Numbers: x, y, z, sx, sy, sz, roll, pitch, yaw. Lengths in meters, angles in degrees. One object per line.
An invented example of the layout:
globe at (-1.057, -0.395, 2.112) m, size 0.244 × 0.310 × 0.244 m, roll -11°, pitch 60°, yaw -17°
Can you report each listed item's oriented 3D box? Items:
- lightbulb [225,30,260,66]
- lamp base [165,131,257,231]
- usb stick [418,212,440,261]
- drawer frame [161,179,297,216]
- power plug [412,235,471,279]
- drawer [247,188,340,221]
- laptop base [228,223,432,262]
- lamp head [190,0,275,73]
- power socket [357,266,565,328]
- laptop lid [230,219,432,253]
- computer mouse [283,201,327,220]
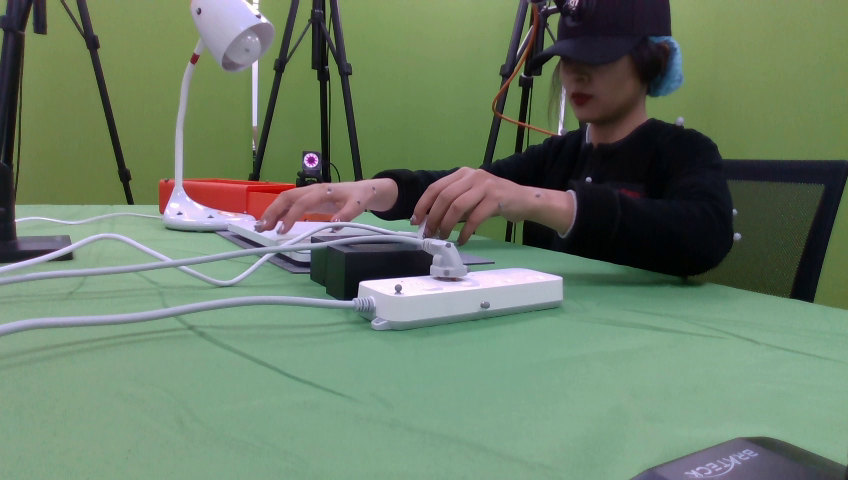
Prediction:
lightbulb at (-0.318, -0.335, 1.000) m, size 0.107 × 0.059 × 0.059 m, roll 46°, pitch 15°, yaw 4°
lamp base at (-0.407, -0.112, 1.119) m, size 0.179 × 0.180 × 0.161 m, roll -1°, pitch 7°, yaw 7°
usb stick at (0.006, -0.003, 0.721) m, size 0.027 × 0.059 × 0.021 m, roll -2°, pitch -1°, yaw -4°
drawer frame at (-0.421, -0.089, 1.329) m, size 0.213 × 0.082 × 0.202 m, roll 4°, pitch 8°, yaw 16°
power plug at (0.017, 0.023, 0.588) m, size 0.035 × 0.052 × 0.072 m, roll -1°, pitch 7°, yaw -24°
drawer at (-0.314, -0.079, 1.301) m, size 0.211 × 0.073 × 0.195 m, roll 4°, pitch 8°, yaw 15°
laptop base at (-0.145, 0.002, 0.943) m, size 0.237 × 0.023 × 0.352 m, roll 1°, pitch 6°, yaw -32°
lamp head at (-0.331, -0.355, 1.008) m, size 0.123 × 0.112 × 0.112 m, roll 43°, pitch 15°, yaw 6°
power socket at (0.041, 0.049, 0.572) m, size 0.228 × 0.032 × 0.072 m, roll -3°, pitch 8°, yaw -35°
laptop lid at (-0.143, -0.009, 0.942) m, size 0.243 × 0.013 × 0.355 m, roll 0°, pitch 7°, yaw -31°
computer mouse at (-0.254, -0.062, 1.293) m, size 0.063 × 0.041 × 0.117 m, roll 0°, pitch 2°, yaw 10°
